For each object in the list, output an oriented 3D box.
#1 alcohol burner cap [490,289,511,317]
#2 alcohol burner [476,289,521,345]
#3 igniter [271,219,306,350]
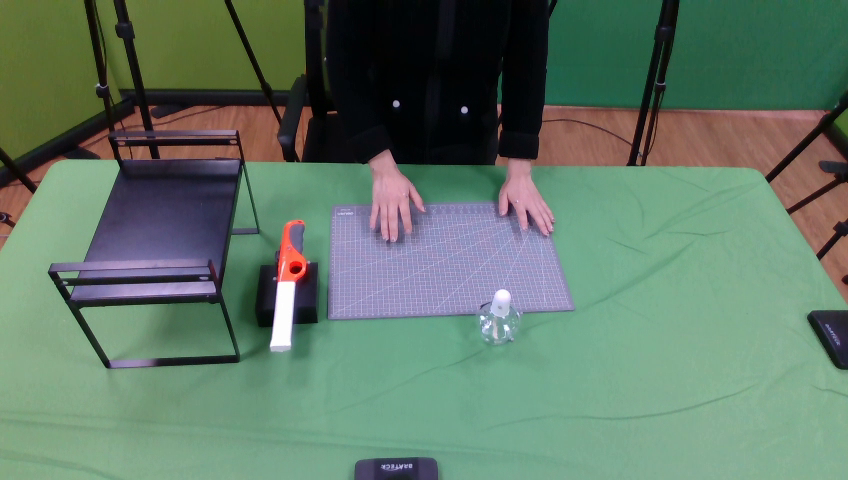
[{"bbox_3d":[0.128,0.101,1.002,0.034,0.048,0.033,3,45,-3],"label":"alcohol burner cap"},{"bbox_3d":[0.128,0.123,1.024,0.078,0.119,0.077,3,45,-3],"label":"alcohol burner"},{"bbox_3d":[-0.235,0.067,1.047,0.057,0.025,0.274,0,49,-6],"label":"igniter"}]
